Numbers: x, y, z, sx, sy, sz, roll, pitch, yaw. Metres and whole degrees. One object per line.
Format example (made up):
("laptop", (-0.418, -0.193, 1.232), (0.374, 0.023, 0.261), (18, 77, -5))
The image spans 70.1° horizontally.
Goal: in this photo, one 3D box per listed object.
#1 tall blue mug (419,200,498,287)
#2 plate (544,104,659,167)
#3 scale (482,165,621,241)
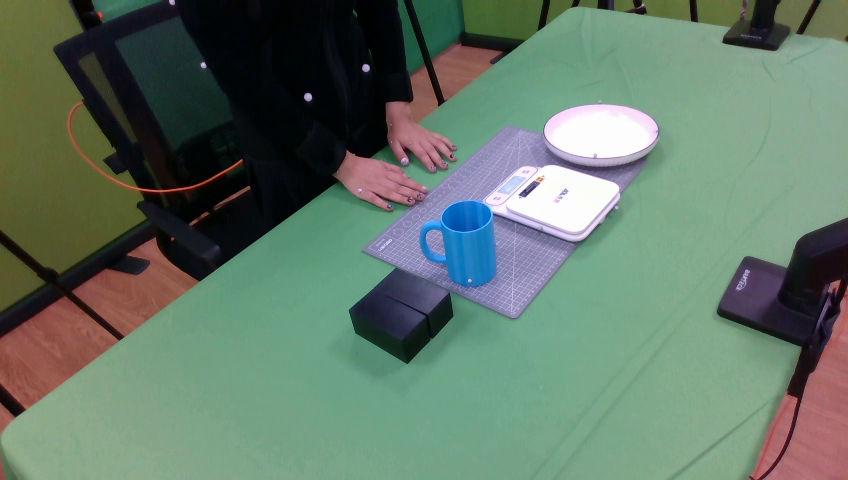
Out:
("tall blue mug", (0.053, 0.010, 0.889), (0.107, 0.108, 0.077), (-15, 41, -7))
("plate", (0.328, -0.192, 1.131), (0.209, 0.038, 0.208), (-4, 39, 4))
("scale", (0.211, -0.070, 1.014), (0.199, 0.032, 0.149), (23, 49, 33))
